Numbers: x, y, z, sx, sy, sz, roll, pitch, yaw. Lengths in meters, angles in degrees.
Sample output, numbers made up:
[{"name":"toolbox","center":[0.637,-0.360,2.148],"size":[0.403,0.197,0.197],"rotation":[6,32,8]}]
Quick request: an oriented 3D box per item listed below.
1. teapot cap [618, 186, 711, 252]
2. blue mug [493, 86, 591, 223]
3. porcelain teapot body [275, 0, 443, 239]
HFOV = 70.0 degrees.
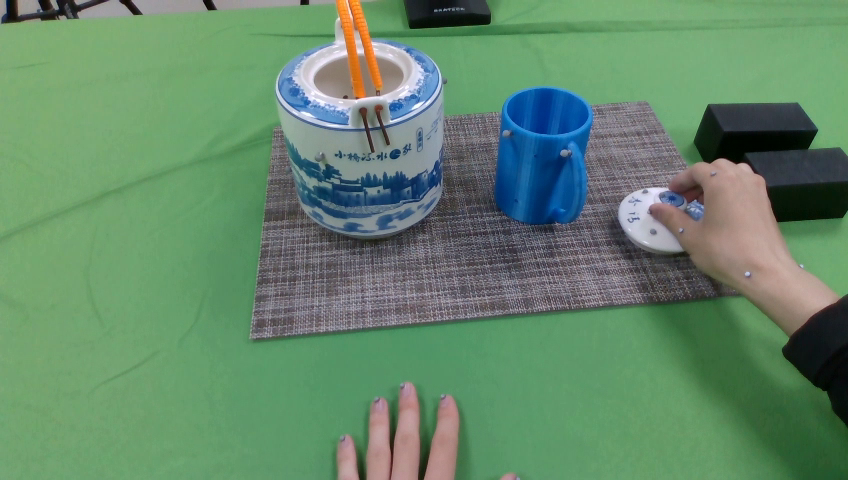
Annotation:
[{"name":"teapot cap","center":[0.227,-0.026,0.571],"size":[0.085,0.044,0.084],"rotation":[-1,46,1]},{"name":"blue mug","center":[0.117,-0.071,0.574],"size":[0.082,0.107,0.115],"rotation":[-18,49,-15]},{"name":"porcelain teapot body","center":[-0.062,-0.139,0.558],"size":[0.145,0.227,0.203],"rotation":[-10,47,-9]}]
